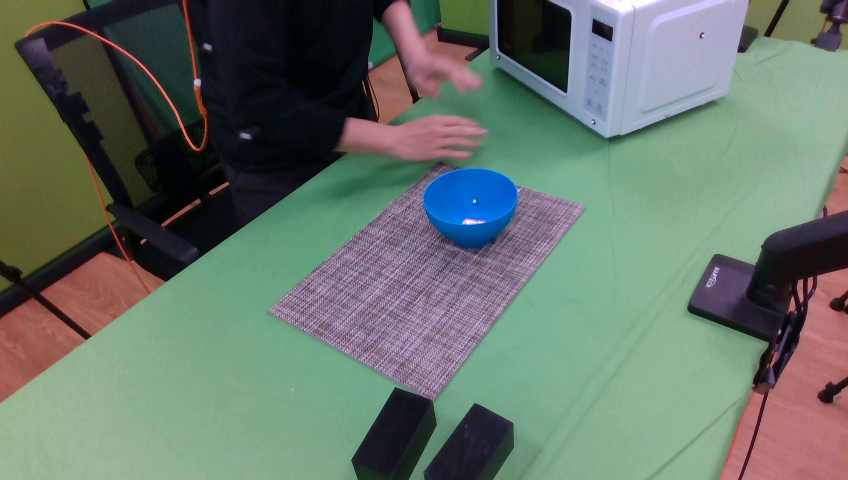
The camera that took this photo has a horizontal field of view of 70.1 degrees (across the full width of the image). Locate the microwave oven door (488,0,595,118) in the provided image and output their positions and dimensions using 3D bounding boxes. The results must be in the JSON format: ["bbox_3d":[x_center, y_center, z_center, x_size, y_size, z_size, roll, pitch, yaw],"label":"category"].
[{"bbox_3d":[0.237,-0.424,1.233,0.039,0.245,0.352,-25,44,-14],"label":"microwave oven door"}]

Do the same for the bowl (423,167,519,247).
[{"bbox_3d":[0.075,-0.041,0.958,0.151,0.077,0.150,-4,41,4],"label":"bowl"}]

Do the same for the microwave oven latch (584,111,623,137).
[{"bbox_3d":[0.337,-0.222,1.142,0.030,0.029,0.078,-21,42,-14],"label":"microwave oven latch"}]

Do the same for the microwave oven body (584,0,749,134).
[{"bbox_3d":[0.382,-0.445,1.246,0.327,0.261,0.437,-22,42,-16],"label":"microwave oven body"}]
